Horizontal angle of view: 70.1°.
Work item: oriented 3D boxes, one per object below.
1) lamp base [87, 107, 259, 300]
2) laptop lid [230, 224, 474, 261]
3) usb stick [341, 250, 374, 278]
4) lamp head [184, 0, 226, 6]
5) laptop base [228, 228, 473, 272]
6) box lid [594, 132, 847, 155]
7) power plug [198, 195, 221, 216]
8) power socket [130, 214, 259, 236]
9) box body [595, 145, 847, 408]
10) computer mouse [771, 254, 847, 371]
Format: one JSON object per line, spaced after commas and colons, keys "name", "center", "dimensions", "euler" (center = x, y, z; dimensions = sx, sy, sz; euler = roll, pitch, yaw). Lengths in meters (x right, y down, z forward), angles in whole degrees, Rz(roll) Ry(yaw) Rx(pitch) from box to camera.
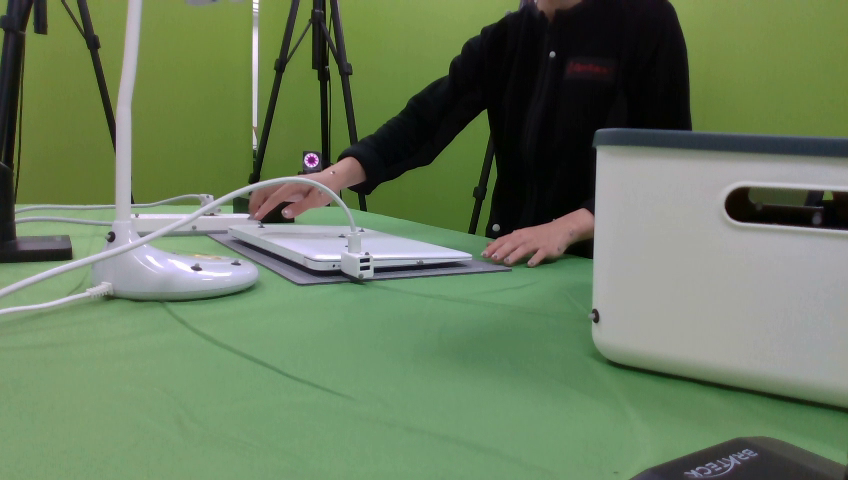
{"name": "lamp base", "center": [-0.254, -0.039, 0.603], "dimensions": [0.160, 0.180, 0.179], "euler": [5, 10, 18]}
{"name": "laptop lid", "center": [-0.121, 0.000, 0.888], "dimensions": [0.243, 0.013, 0.355], "euler": [1, 7, -33]}
{"name": "usb stick", "center": [-0.078, 0.026, 0.686], "dimensions": [0.021, 0.027, 0.059], "euler": [-8, 8, -30]}
{"name": "lamp head", "center": [-0.229, -0.320, 0.627], "dimensions": [0.112, 0.112, 0.123], "euler": [6, -35, 26]}
{"name": "laptop base", "center": [-0.124, 0.011, 0.889], "dimensions": [0.237, 0.023, 0.352], "euler": [1, 6, -35]}
{"name": "box lid", "center": [0.310, -0.066, 0.499], "dimensions": [0.262, 0.015, 0.373], "euler": [7, 8, 29]}
{"name": "power plug", "center": [-0.386, -0.055, 1.088], "dimensions": [0.035, 0.052, 0.072], "euler": [-2, 7, -24]}
{"name": "power socket", "center": [-0.397, -0.028, 1.048], "dimensions": [0.228, 0.032, 0.072], "euler": [-3, 7, -35]}
{"name": "box body", "center": [0.309, 0.006, 0.510], "dimensions": [0.253, 0.160, 0.366], "euler": [6, 8, 29]}
{"name": "computer mouse", "center": [0.344, 0.057, 0.519], "dimensions": [0.063, 0.041, 0.117], "euler": [12, 47, 4]}
